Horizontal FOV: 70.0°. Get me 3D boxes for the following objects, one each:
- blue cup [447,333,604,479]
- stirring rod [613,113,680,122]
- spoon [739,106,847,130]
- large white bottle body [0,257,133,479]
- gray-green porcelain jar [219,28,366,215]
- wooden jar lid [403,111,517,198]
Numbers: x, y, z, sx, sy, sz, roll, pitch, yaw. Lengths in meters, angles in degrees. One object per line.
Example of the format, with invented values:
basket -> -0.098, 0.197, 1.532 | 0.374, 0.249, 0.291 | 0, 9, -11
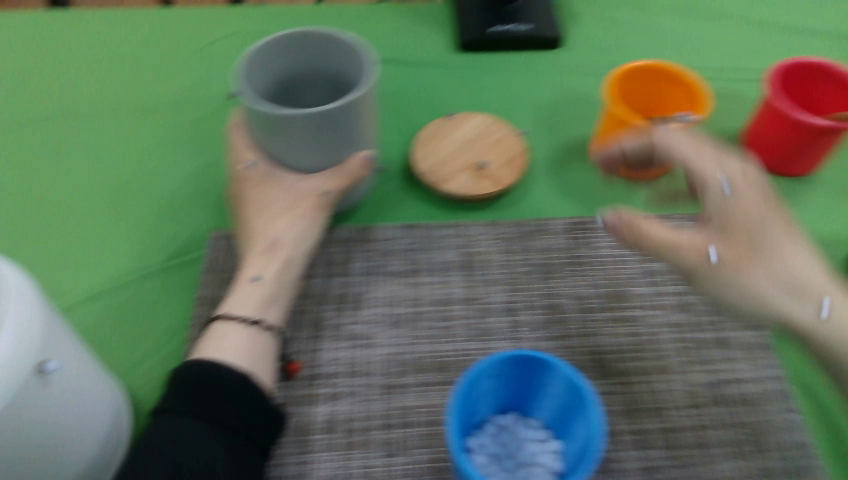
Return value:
blue cup -> 0.056, 0.124, 0.369 | 0.092, 0.101, 0.091 | 0, 53, 1
stirring rod -> 0.189, -0.106, 0.528 | 0.014, 0.006, 0.175 | 2, 10, 5
spoon -> 0.347, -0.108, 0.528 | 0.042, 0.022, 0.193 | -9, 10, -7
large white bottle body -> -0.262, 0.086, 0.339 | 0.131, 0.186, 0.129 | 1, 53, -1
gray-green porcelain jar -> -0.103, -0.092, 0.508 | 0.106, 0.127, 0.105 | 1, 52, 0
wooden jar lid -> 0.034, -0.080, 0.576 | 0.108, 0.021, 0.107 | 1, 52, -1
